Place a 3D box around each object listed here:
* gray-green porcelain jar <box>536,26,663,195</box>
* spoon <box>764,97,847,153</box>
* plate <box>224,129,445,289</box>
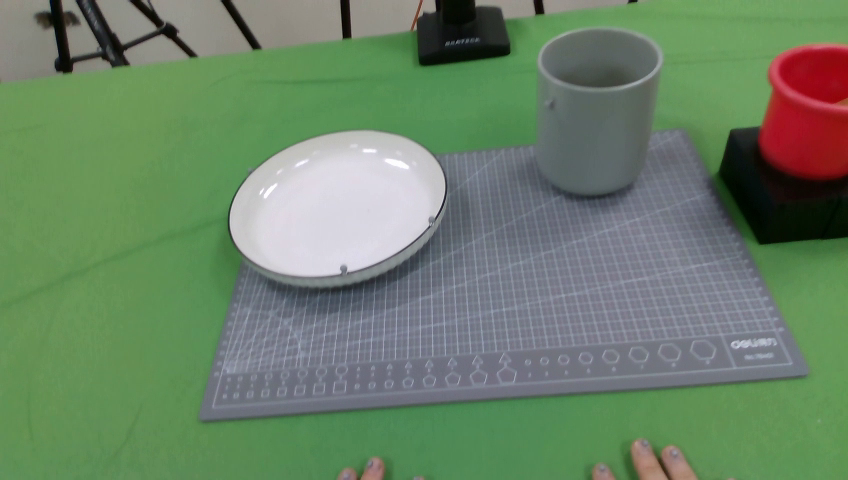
[{"bbox_3d":[0.157,-0.114,0.560,0.106,0.128,0.105,-5,46,5],"label":"gray-green porcelain jar"},{"bbox_3d":[0.356,-0.120,0.455,0.022,0.194,0.041,32,46,-24],"label":"spoon"},{"bbox_3d":[-0.082,-0.030,0.580,0.207,0.039,0.205,-4,46,5],"label":"plate"}]
